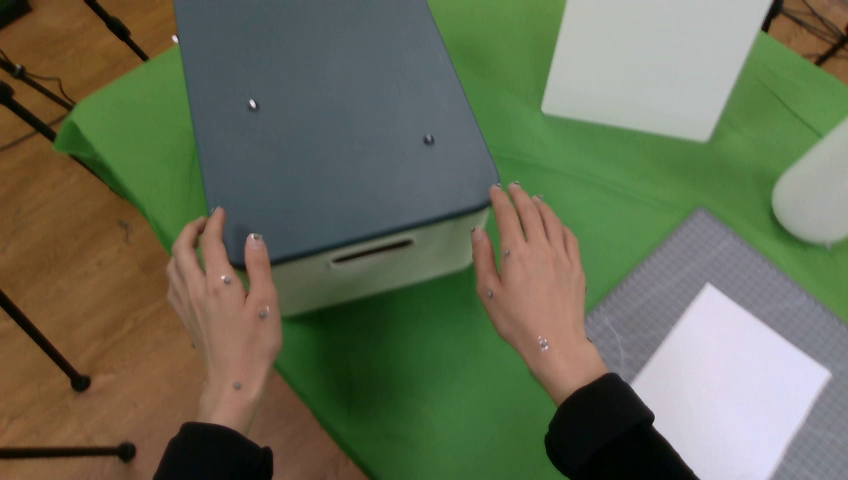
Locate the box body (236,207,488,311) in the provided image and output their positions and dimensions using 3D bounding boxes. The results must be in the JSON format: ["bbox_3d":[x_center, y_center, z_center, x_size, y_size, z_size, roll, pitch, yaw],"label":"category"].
[{"bbox_3d":[-0.101,-0.125,0.671,0.254,0.161,0.360,-15,65,-9],"label":"box body"}]

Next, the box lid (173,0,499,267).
[{"bbox_3d":[-0.100,-0.161,0.607,0.264,0.015,0.368,-15,65,-9],"label":"box lid"}]

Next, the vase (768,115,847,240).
[{"bbox_3d":[0.459,-0.082,0.648,0.098,0.201,0.097,1,61,-1],"label":"vase"}]

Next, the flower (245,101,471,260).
[{"bbox_3d":[-0.095,-0.086,0.729,0.359,0.038,0.044,34,98,21],"label":"flower"}]

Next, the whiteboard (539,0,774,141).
[{"bbox_3d":[0.282,-0.302,0.729,0.217,0.308,0.143,12,44,5],"label":"whiteboard"}]
